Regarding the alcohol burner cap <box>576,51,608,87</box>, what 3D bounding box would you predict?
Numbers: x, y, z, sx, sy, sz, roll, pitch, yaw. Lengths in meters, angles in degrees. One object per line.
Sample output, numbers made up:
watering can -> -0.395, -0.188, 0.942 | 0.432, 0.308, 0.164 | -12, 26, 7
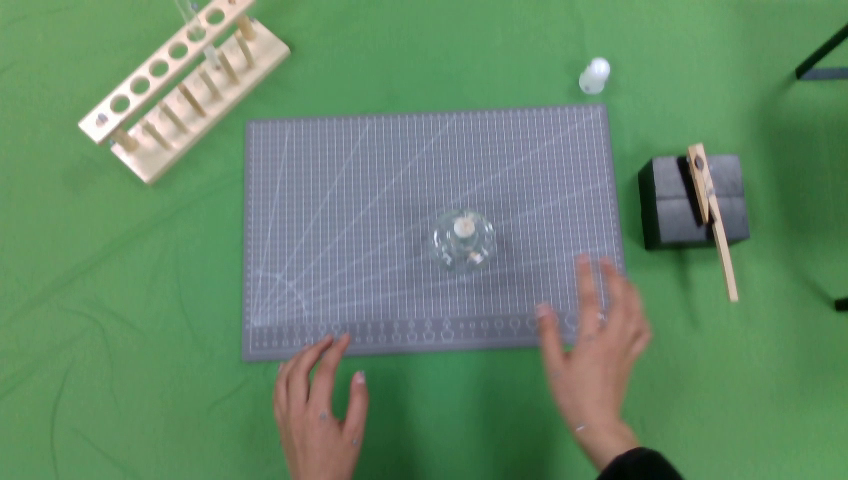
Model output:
alcohol burner cap -> 0.209, -0.213, 0.746 | 0.034, 0.048, 0.033 | 0, 77, 0

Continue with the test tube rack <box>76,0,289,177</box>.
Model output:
test tube rack -> -0.277, -0.193, 0.718 | 0.066, 0.085, 0.242 | 42, 81, 9

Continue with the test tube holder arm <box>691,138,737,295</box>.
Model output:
test tube holder arm -> 0.320, -0.026, 0.671 | 0.013, 0.015, 0.178 | -14, 82, 14

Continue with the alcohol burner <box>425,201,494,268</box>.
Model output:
alcohol burner -> 0.040, -0.010, 0.665 | 0.078, 0.119, 0.077 | 0, 76, -1

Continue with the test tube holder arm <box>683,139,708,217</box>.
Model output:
test tube holder arm -> 0.305, -0.069, 0.678 | 0.010, 0.015, 0.087 | -12, 83, 15

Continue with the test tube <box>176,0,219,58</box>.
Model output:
test tube -> -0.258, -0.250, 0.679 | 0.017, 0.151, 0.017 | 0, 74, -1
